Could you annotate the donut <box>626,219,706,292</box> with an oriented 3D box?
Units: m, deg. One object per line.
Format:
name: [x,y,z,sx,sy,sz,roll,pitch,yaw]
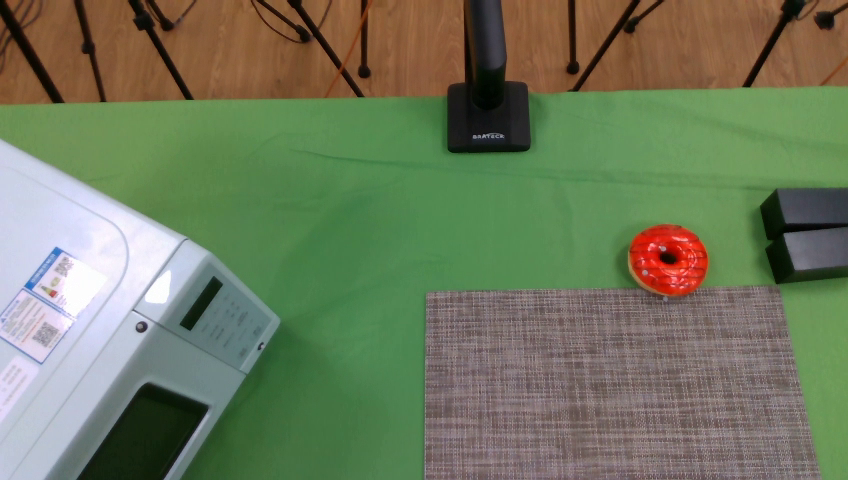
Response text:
donut: [0.308,0.020,0.773,0.099,0.048,0.098,-3,64,6]

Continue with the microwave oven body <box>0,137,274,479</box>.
microwave oven body: [-0.431,0.162,0.642,0.324,0.262,0.440,26,72,13]

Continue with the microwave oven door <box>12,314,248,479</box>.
microwave oven door: [-0.323,0.256,0.592,0.039,0.245,0.354,25,71,14]

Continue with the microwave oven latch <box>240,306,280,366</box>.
microwave oven latch: [-0.210,0.115,0.752,0.030,0.030,0.079,28,73,14]
